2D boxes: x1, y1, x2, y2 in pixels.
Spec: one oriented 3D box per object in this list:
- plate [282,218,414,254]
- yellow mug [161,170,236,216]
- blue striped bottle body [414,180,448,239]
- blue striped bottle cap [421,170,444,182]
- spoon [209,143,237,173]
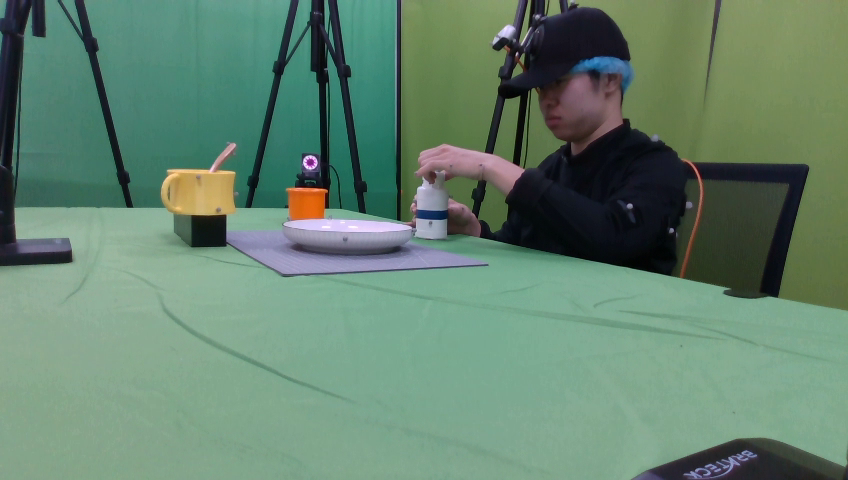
[{"bbox_3d":[-0.121,-0.007,0.971,0.208,0.039,0.207,2,7,0],"label":"plate"},{"bbox_3d":[-0.354,-0.074,0.935,0.099,0.064,0.131,5,9,21],"label":"yellow mug"},{"bbox_3d":[0.014,-0.065,1.166,0.063,0.120,0.063,2,8,0],"label":"blue striped bottle body"},{"bbox_3d":[0.017,-0.122,1.158,0.044,0.020,0.044,5,4,0],"label":"blue striped bottle cap"},{"bbox_3d":[-0.341,-0.113,0.990,0.041,0.021,0.193,1,40,6],"label":"spoon"}]
